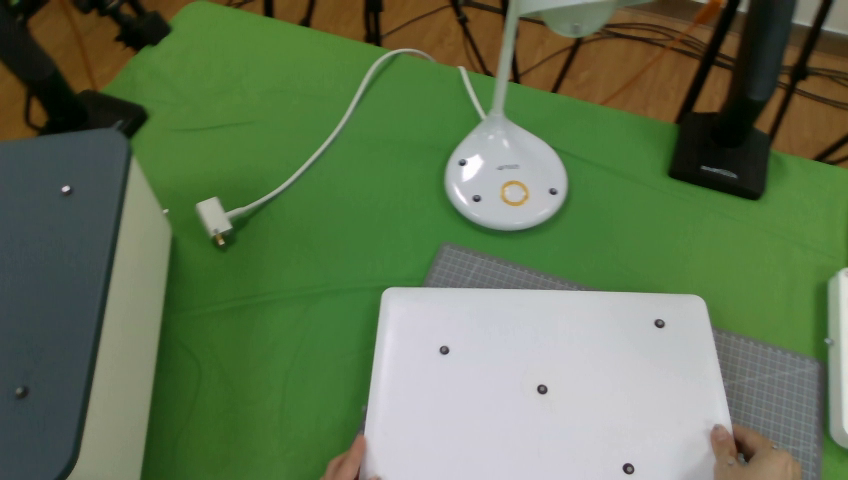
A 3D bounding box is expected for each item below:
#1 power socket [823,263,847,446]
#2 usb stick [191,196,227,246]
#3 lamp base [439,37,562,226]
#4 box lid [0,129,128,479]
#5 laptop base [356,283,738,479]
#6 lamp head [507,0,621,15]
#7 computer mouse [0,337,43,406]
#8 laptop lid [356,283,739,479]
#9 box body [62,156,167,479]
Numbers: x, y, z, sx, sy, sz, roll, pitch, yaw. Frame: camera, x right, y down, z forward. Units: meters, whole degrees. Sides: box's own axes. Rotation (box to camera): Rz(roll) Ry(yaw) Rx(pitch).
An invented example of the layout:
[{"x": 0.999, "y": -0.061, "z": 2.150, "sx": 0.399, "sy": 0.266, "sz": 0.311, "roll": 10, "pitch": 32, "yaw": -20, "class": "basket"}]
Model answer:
[{"x": 0.474, "y": 0.123, "z": 0.653, "sx": 0.072, "sy": 0.033, "sz": 0.225, "roll": 16, "pitch": 59, "yaw": 9, "class": "power socket"}, {"x": -0.263, "y": -0.023, "z": 0.749, "sx": 0.027, "sy": 0.021, "sz": 0.059, "roll": -23, "pitch": 90, "yaw": -31, "class": "usb stick"}, {"x": 0.094, "y": -0.137, "z": 0.732, "sx": 0.161, "sy": 0.182, "sz": 0.177, "roll": -16, "pitch": 56, "yaw": -10, "class": "lamp base"}, {"x": -0.419, "y": 0.049, "z": 0.543, "sx": 0.263, "sy": 0.015, "sz": 0.367, "roll": -7, "pitch": 59, "yaw": -4, "class": "box lid"}, {"x": 0.118, "y": 0.153, "z": 0.619, "sx": 0.354, "sy": 0.023, "sz": 0.233, "roll": 1, "pitch": 58, "yaw": 5, "class": "laptop base"}, {"x": 0.114, "y": -0.241, "z": 0.467, "sx": 0.112, "sy": 0.112, "sz": 0.123, "roll": -9, "pitch": 102, "yaw": -5, "class": "lamp head"}, {"x": -0.445, "y": 0.138, "z": 0.634, "sx": 0.063, "sy": 0.041, "sz": 0.116, "roll": -33, "pitch": 23, "yaw": -8, "class": "computer mouse"}, {"x": 0.117, "y": 0.148, "z": 0.608, "sx": 0.356, "sy": 0.013, "sz": 0.239, "roll": 2, "pitch": 57, "yaw": 6, "class": "laptop lid"}, {"x": -0.418, "y": 0.090, "z": 0.604, "sx": 0.254, "sy": 0.162, "sz": 0.360, "roll": -6, "pitch": 58, "yaw": -4, "class": "box body"}]
